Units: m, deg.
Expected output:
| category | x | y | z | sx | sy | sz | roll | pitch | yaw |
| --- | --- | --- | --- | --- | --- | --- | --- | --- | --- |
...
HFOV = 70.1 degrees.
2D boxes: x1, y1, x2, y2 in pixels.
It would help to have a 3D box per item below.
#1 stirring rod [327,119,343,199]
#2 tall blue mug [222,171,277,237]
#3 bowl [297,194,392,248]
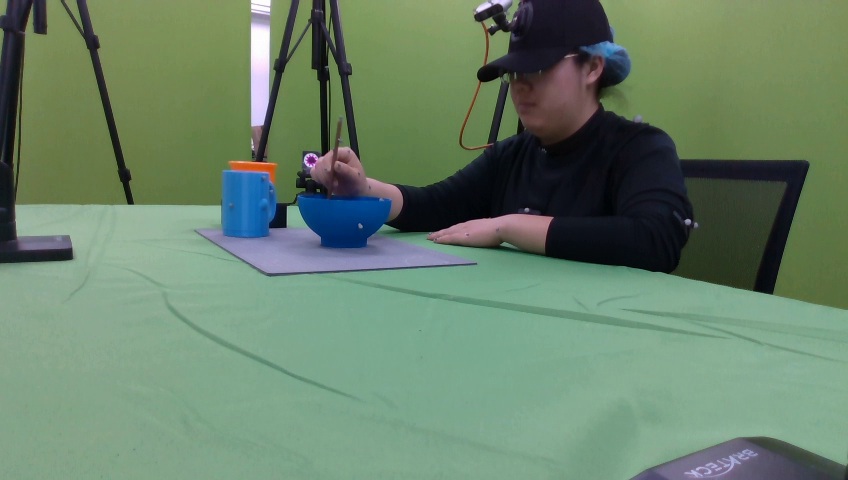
| category | x | y | z | sx | sy | sz | roll | pitch | yaw |
| --- | --- | --- | --- | --- | --- | --- | --- | --- | --- |
| stirring rod | -0.144 | -0.104 | 0.960 | 0.006 | 0.176 | 0.014 | 9 | 6 | -2 |
| tall blue mug | -0.303 | -0.064 | 1.043 | 0.078 | 0.108 | 0.107 | 1 | 7 | -4 |
| bowl | -0.127 | -0.030 | 0.964 | 0.151 | 0.077 | 0.151 | 2 | 7 | 0 |
